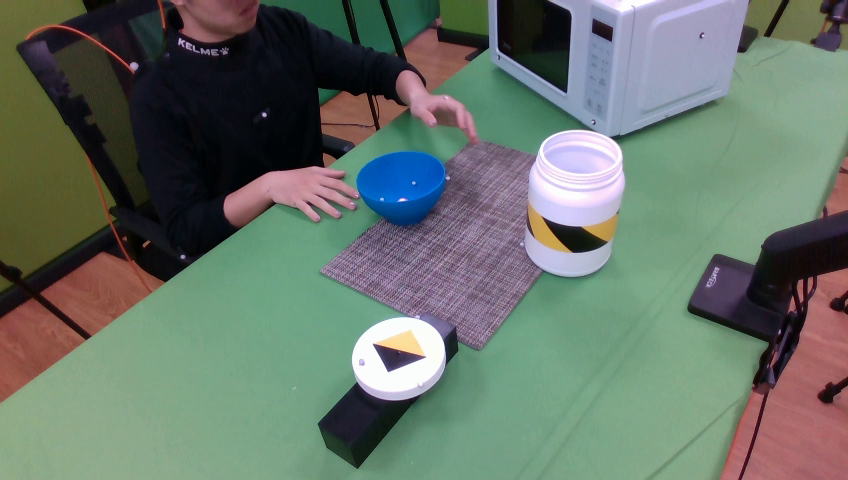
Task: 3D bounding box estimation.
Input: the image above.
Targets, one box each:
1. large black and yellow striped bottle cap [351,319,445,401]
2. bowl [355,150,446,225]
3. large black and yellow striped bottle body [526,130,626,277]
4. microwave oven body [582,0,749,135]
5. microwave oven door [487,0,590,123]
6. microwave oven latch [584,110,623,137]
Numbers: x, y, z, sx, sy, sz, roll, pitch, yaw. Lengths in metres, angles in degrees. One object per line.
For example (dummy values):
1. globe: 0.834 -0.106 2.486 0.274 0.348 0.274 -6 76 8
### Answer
1. large black and yellow striped bottle cap: -0.031 0.143 0.735 0.115 0.019 0.114 -3 40 3
2. bowl: -0.035 -0.078 1.017 0.151 0.077 0.150 -4 40 4
3. large black and yellow striped bottle body: 0.216 -0.052 0.870 0.131 0.185 0.130 -2 43 2
4. microwave oven body: 0.382 -0.444 1.246 0.327 0.261 0.437 -22 42 -16
5. microwave oven door: 0.231 -0.420 1.231 0.039 0.245 0.352 -22 43 -16
6. microwave oven latch: 0.337 -0.222 1.142 0.030 0.029 0.078 -21 42 -14
